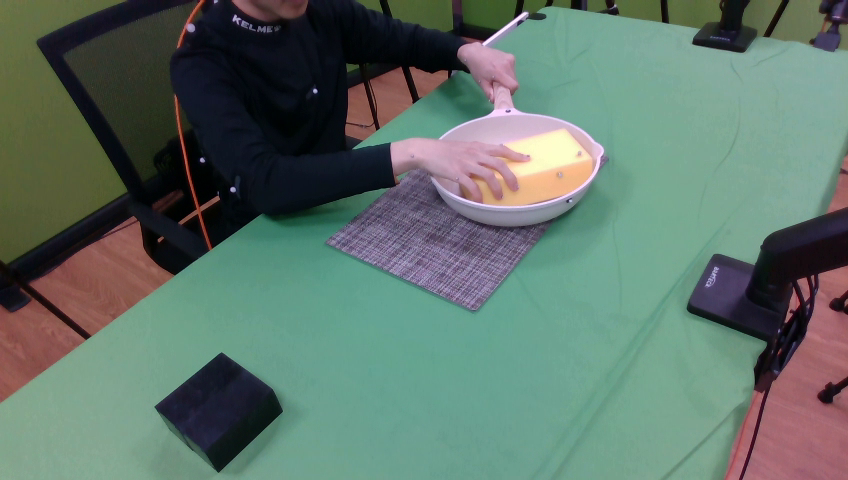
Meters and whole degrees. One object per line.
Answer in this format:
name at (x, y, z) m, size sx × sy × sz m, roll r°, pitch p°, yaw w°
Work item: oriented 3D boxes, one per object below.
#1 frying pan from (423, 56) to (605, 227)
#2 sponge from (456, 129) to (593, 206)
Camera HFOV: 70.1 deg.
frying pan at (0.155, -0.199, 1.111) m, size 0.307 × 0.103 × 0.485 m, roll -2°, pitch 49°, yaw 5°
sponge at (0.169, -0.118, 1.034) m, size 0.207 × 0.061 × 0.117 m, roll -14°, pitch 37°, yaw -6°
